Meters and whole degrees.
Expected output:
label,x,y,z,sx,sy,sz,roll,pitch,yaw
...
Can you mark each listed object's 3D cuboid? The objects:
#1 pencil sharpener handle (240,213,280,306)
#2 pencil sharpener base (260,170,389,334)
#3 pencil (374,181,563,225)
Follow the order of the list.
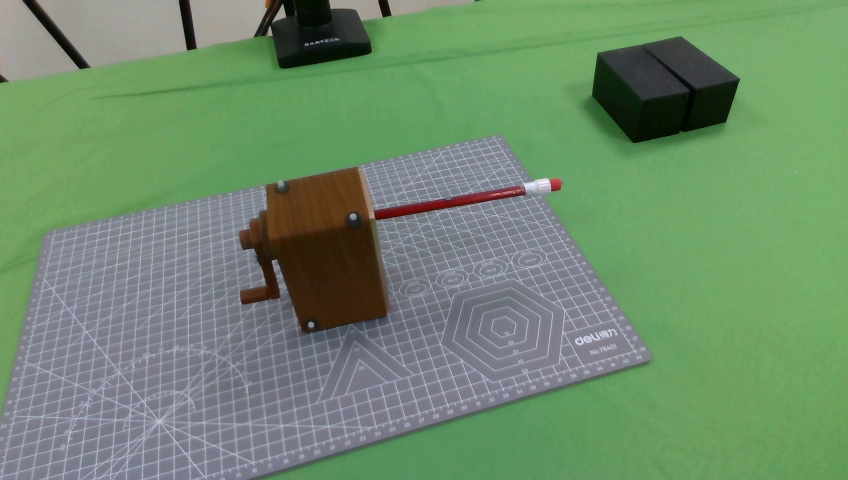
label,x,y,z,sx,sy,sz,roll,pitch,yaw
pencil sharpener handle,-0.121,0.016,0.427,0.031,0.068,0.035,-12,25,-7
pencil sharpener base,-0.072,0.012,0.446,0.077,0.108,0.060,-12,45,-7
pencil,0.008,-0.022,0.439,0.194,0.012,0.012,-11,44,-7
